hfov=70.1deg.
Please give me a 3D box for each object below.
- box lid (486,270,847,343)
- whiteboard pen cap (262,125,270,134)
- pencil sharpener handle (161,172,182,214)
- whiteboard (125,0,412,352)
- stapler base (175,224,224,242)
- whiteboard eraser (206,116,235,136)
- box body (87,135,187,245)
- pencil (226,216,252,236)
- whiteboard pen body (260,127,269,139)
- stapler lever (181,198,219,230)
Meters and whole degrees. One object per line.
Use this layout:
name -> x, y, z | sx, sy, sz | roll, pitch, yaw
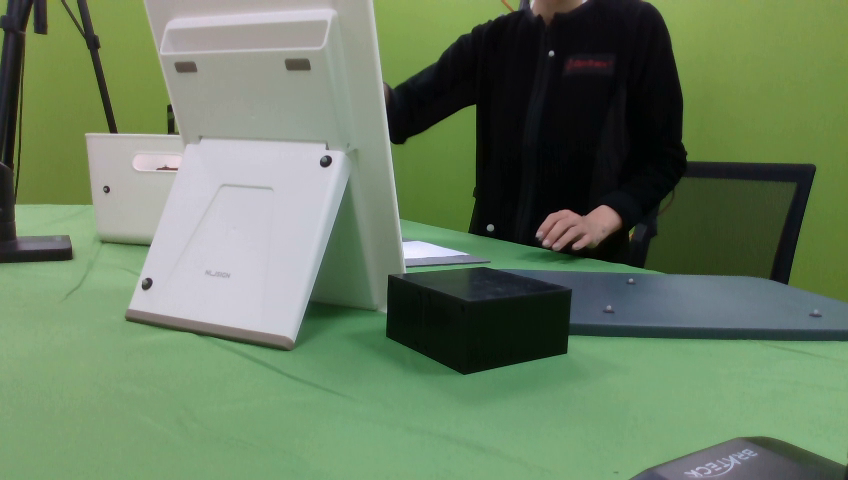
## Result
box lid -> 0.267, 0.066, 0.643 | 0.372, 0.015, 0.263 | 2, 7, -5
whiteboard pen cap -> -0.349, -0.244, 1.337 | 0.018, 0.018, 0.033 | 0, 2, -17
pencil sharpener handle -> -0.410, -0.075, 0.973 | 0.036, 0.067, 0.031 | -12, 5, 11
whiteboard -> -0.151, -0.049, 0.472 | 0.216, 0.305, 0.144 | 6, 27, 24
stapler base -> -0.348, -0.015, 0.946 | 0.041, 0.024, 0.130 | 0, 7, -3
whiteboard eraser -> -0.450, -0.252, 1.335 | 0.056, 0.042, 0.112 | 1, 7, -22
box body -> -0.338, -0.088, 1.022 | 0.254, 0.160, 0.364 | 3, 7, 9
pencil -> -0.334, -0.025, 1.092 | 0.012, 0.012, 0.193 | 2, 11, -5
whiteboard pen body -> -0.366, -0.247, 1.392 | 0.017, 0.017, 0.140 | 0, 3, -17
stapler lever -> -0.347, -0.041, 0.941 | 0.027, 0.040, 0.118 | 0, 9, -3
